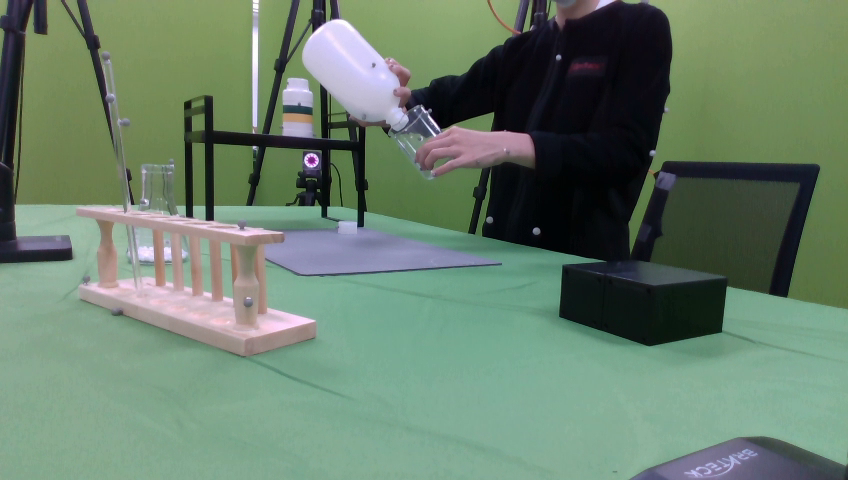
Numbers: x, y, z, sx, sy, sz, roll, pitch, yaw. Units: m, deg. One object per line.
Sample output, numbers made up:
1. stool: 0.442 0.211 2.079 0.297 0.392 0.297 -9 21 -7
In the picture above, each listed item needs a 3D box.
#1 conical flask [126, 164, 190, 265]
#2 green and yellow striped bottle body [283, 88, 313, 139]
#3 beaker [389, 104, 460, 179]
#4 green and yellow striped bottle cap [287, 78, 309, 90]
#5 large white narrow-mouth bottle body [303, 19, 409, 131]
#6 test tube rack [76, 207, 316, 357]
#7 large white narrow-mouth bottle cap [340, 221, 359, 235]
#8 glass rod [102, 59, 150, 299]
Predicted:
1. conical flask: -0.332 -0.033 0.756 0.075 0.122 0.075 2 7 0
2. green and yellow striped bottle body: -0.266 -0.275 1.275 0.063 0.119 0.063 2 7 0
3. beaker: 0.002 -0.154 0.961 0.074 0.100 0.084 -41 -5 19
4. green and yellow striped bottle cap: -0.265 -0.326 1.268 0.045 0.020 0.045 4 6 0
5. large white narrow-mouth bottle body: -0.099 -0.256 0.978 0.194 0.101 0.102 48 14 4
6. test tube rack: -0.196 0.023 0.500 0.241 0.085 0.067 8 9 36
7. large white narrow-mouth bottle cap: -0.139 -0.023 1.127 0.038 0.024 0.037 4 8 0
8. glass rod: -0.243 -0.045 0.496 0.008 0.199 0.008 -4 12 1
